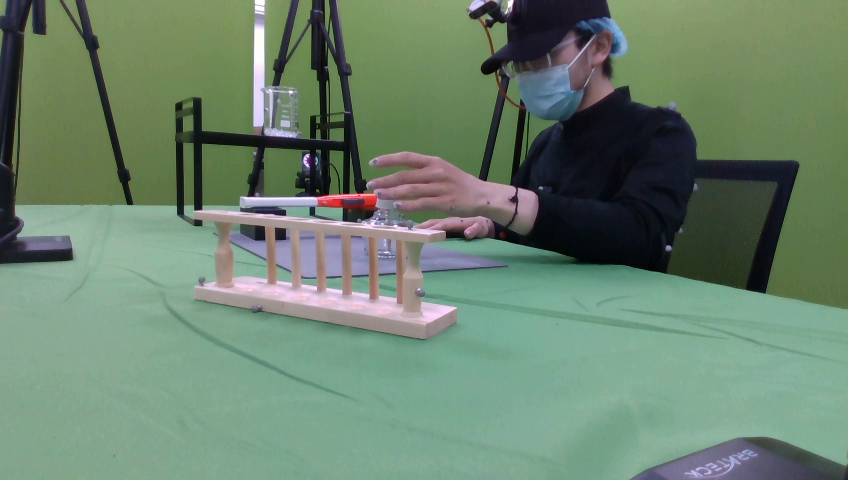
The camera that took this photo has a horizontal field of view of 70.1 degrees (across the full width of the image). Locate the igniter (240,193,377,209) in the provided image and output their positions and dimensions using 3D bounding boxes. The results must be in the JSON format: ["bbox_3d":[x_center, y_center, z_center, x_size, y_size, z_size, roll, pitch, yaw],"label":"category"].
[{"bbox_3d":[-0.188,-0.070,1.078,0.278,0.025,0.057,-5,11,-35],"label":"igniter"}]

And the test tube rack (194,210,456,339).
[{"bbox_3d":[-0.093,0.023,0.545,0.241,0.085,0.067,6,8,25],"label":"test tube rack"}]

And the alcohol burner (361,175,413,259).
[{"bbox_3d":[-0.054,-0.033,0.870,0.078,0.119,0.078,1,9,0],"label":"alcohol burner"}]

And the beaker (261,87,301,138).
[{"bbox_3d":[-0.298,-0.263,1.255,0.084,0.100,0.073,-5,10,-40],"label":"beaker"}]

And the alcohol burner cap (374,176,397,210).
[{"bbox_3d":[-0.054,-0.068,0.866,0.034,0.048,0.034,6,9,-1],"label":"alcohol burner cap"}]
